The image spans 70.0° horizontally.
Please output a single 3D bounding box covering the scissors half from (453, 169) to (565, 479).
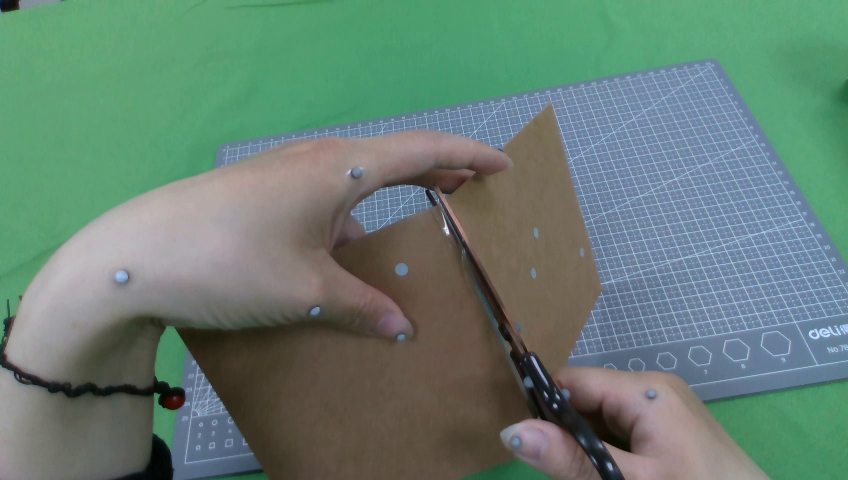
[{"bbox_3d":[0.041,0.050,0.284,0.013,0.176,0.040,-22,14,-12],"label":"scissors half"}]

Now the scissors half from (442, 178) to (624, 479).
[{"bbox_3d":[0.046,0.048,0.262,0.013,0.040,0.174,-22,75,-17],"label":"scissors half"}]

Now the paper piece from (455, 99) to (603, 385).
[{"bbox_3d":[0.069,0.008,0.336,0.004,0.136,0.135,-2,29,36],"label":"paper piece"}]

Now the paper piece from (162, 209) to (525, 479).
[{"bbox_3d":[-0.029,0.071,0.294,0.138,0.137,0.008,-25,17,1],"label":"paper piece"}]
